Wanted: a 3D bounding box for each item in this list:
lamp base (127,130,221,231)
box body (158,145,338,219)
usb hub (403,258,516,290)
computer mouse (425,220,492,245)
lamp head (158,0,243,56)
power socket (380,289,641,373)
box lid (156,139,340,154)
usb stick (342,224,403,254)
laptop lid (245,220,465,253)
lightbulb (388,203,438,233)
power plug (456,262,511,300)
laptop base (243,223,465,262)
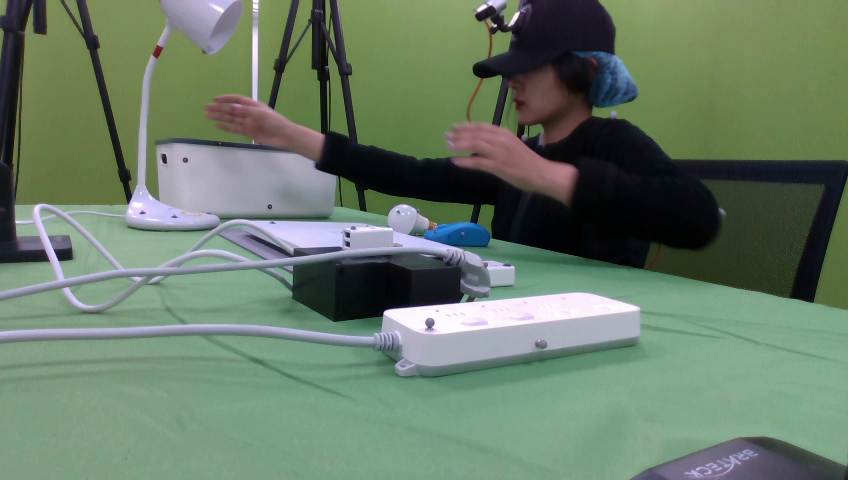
[{"bbox_3d":[-0.469,-0.112,1.108,0.179,0.180,0.160,0,7,4],"label":"lamp base"},{"bbox_3d":[-0.410,-0.139,1.414,0.366,0.160,0.253,-3,8,-33],"label":"box body"},{"bbox_3d":[0.042,0.038,0.690,0.126,0.025,0.049,-2,9,-30],"label":"usb hub"},{"bbox_3d":[0.060,-0.013,1.060,0.117,0.041,0.062,-2,10,-6],"label":"computer mouse"},{"bbox_3d":[-0.399,-0.397,1.057,0.123,0.112,0.112,27,5,-7],"label":"lamp head"},{"bbox_3d":[0.072,0.064,0.461,0.228,0.032,0.072,-2,8,-30],"label":"power socket"},{"bbox_3d":[-0.409,-0.213,1.404,0.373,0.015,0.262,-2,7,-32],"label":"box lid"},{"bbox_3d":[-0.047,-0.001,0.567,0.059,0.027,0.021,0,5,-32],"label":"usb stick"},{"bbox_3d":[-0.124,-0.009,0.945,0.243,0.013,0.355,1,7,-29],"label":"laptop lid"},{"bbox_3d":[-0.017,-0.035,1.162,0.108,0.059,0.059,16,0,-27],"label":"lightbulb"},{"bbox_3d":[0.052,0.051,0.543,0.035,0.052,0.072,6,37,-20],"label":"power plug"},{"bbox_3d":[-0.126,0.003,0.945,0.237,0.023,0.352,2,6,-31],"label":"laptop base"}]
